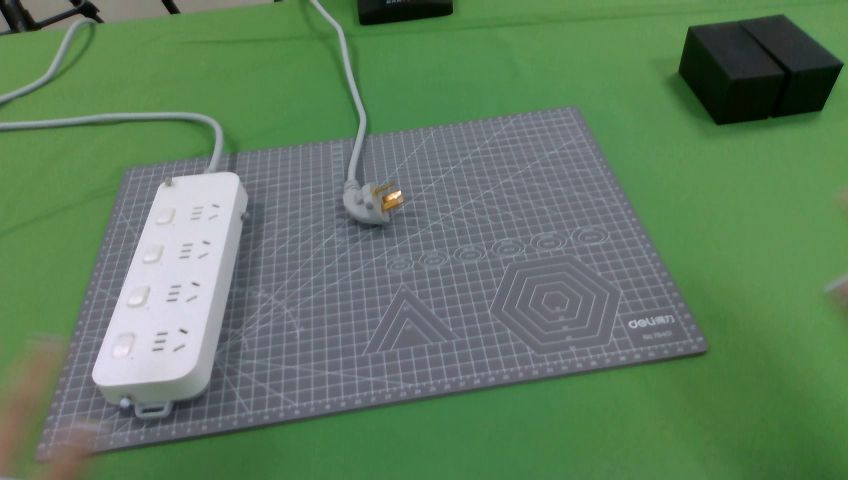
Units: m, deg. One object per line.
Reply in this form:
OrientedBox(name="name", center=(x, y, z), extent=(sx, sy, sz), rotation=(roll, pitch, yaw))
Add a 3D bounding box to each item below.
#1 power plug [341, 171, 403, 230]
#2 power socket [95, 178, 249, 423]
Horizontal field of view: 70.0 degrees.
OrientedBox(name="power plug", center=(-0.046, -0.042, 0.515), extent=(0.052, 0.035, 0.072), rotation=(-17, 65, 10))
OrientedBox(name="power socket", center=(-0.185, 0.030, 0.468), extent=(0.072, 0.033, 0.224), rotation=(-5, 46, 0))
